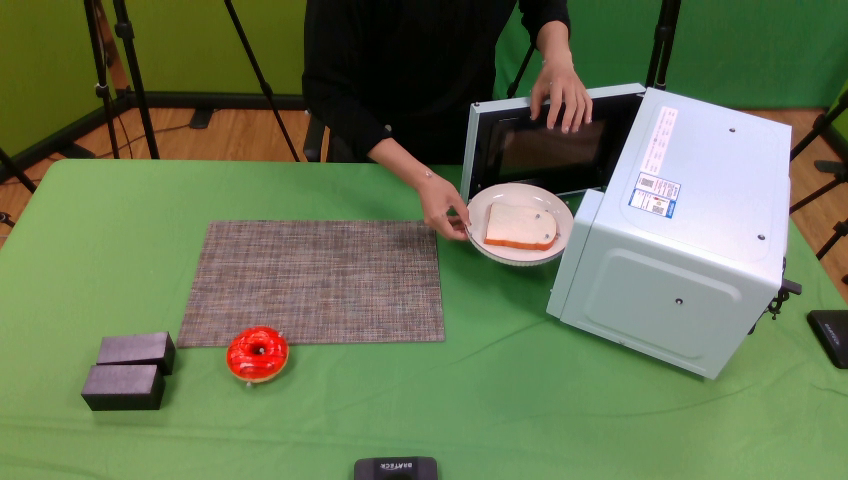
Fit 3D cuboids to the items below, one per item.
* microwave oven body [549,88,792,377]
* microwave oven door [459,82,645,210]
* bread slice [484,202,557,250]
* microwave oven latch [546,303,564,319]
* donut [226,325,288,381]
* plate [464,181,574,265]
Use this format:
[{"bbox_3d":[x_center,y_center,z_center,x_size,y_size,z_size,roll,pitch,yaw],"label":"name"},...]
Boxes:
[{"bbox_3d":[0.456,-0.028,1.088,0.325,0.261,0.440,20,47,16],"label":"microwave oven body"},{"bbox_3d":[0.252,-0.187,1.219,0.356,0.245,0.039,-10,48,-13],"label":"microwave oven door"},{"bbox_3d":[0.183,-0.027,1.134,0.131,0.019,0.104,8,49,6],"label":"bread slice"},{"bbox_3d":[0.242,0.102,1.081,0.030,0.029,0.079,22,48,17],"label":"microwave oven latch"},{"bbox_3d":[-0.270,0.182,0.984,0.099,0.048,0.098,5,49,-5],"label":"donut"},{"bbox_3d":[0.176,-0.029,1.134,0.208,0.039,0.206,1,48,0],"label":"plate"}]
